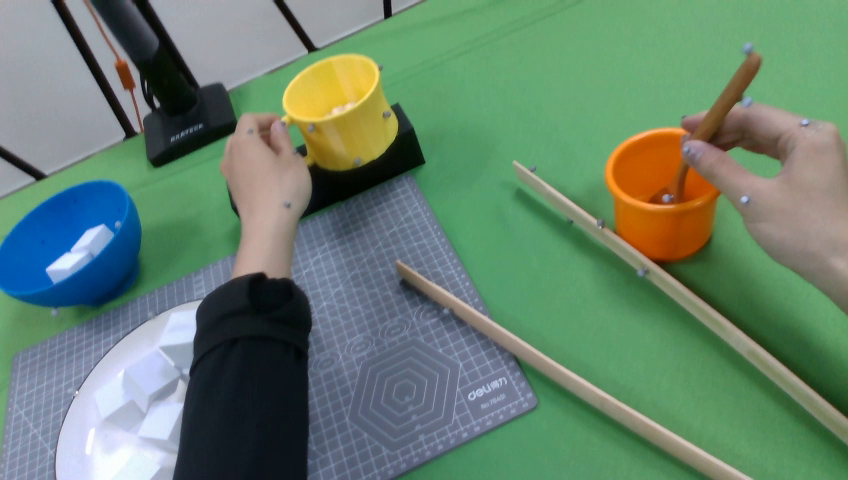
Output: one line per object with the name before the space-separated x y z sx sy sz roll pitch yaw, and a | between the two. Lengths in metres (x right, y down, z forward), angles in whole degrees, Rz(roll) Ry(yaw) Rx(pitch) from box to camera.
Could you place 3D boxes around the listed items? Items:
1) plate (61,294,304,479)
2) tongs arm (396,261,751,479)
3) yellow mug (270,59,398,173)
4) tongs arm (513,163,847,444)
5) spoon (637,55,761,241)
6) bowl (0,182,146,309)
plate | -0.194 0.140 0.506 0.207 0.039 0.205 -10 49 11
tongs arm | 0.118 0.100 0.443 0.384 0.028 0.028 28 61 34
yellow mug | -0.096 -0.116 0.607 0.131 0.064 0.099 -37 49 -12
tongs arm | 0.178 0.049 0.462 0.051 0.027 0.380 -36 50 -13
spoon | 0.189 -0.056 0.433 0.021 0.195 0.041 -5 62 0
bowl | -0.354 0.019 0.641 0.151 0.077 0.150 -10 49 12
